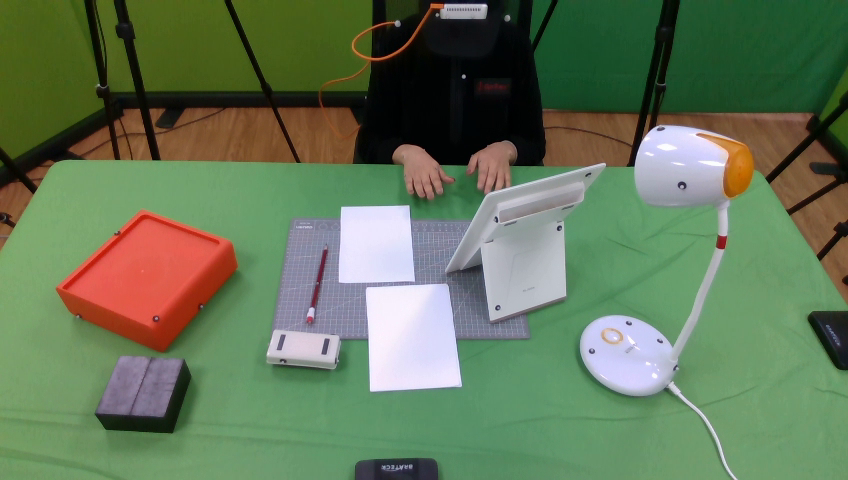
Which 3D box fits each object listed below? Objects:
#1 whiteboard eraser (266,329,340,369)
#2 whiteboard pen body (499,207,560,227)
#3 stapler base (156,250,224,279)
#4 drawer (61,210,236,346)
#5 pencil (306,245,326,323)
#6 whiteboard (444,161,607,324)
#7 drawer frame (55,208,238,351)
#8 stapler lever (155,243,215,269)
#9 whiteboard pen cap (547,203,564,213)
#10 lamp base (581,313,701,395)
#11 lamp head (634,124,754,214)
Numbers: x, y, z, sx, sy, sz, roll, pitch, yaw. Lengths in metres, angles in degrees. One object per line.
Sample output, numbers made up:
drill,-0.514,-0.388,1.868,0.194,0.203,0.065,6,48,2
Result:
whiteboard eraser,-0.198,0.181,0.994,0.113,0.042,0.055,5,45,1
whiteboard pen body,0.222,-0.051,1.259,0.141,0.017,0.017,-15,49,-16
stapler base,-0.431,0.040,1.111,0.130,0.024,0.041,11,38,17
drawer,-0.474,0.061,1.063,0.194,0.073,0.211,19,48,13
pencil,-0.197,0.076,1.115,0.012,0.012,0.193,4,44,0
whiteboard,0.186,0.025,1.029,0.217,0.306,0.143,-15,68,-18
drawer frame,-0.474,0.062,1.059,0.201,0.083,0.213,18,48,12
stapler lever,-0.433,0.023,1.097,0.118,0.040,0.026,14,39,14
whiteboard pen cap,0.277,-0.066,1.275,0.033,0.018,0.018,-18,50,-15
lamp base,0.361,0.144,0.973,0.178,0.181,0.160,34,53,23
lamp head,0.351,-0.089,0.775,0.112,0.113,0.122,-30,30,-28
